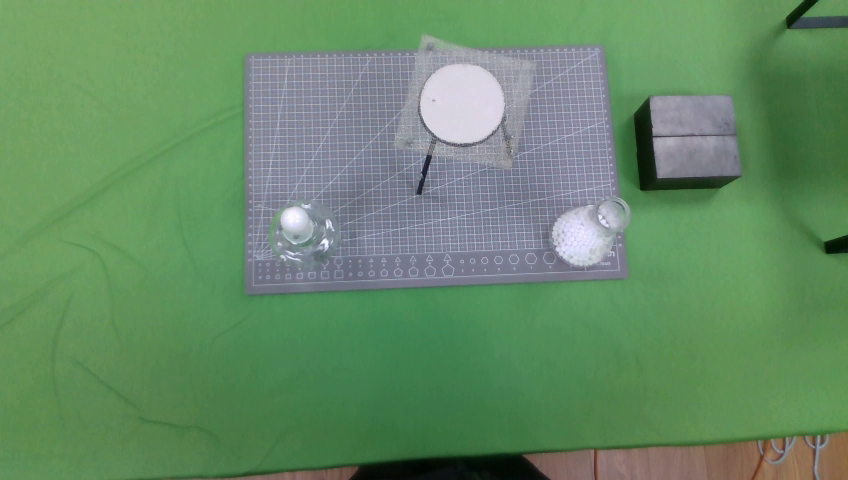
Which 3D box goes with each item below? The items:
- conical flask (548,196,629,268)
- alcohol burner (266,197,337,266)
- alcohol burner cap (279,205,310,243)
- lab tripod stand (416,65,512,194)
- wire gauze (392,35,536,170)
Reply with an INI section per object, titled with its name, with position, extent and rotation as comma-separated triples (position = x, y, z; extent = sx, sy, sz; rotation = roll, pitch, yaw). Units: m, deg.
[conical flask]
position = 0.186, -0.014, 0.666
extent = 0.075, 0.122, 0.075
rotation = 1, 79, -2
[alcohol burner]
position = -0.135, -0.012, 0.656
extent = 0.078, 0.119, 0.077
rotation = 0, 81, -2
[alcohol burner cap]
position = -0.135, -0.019, 0.621
extent = 0.034, 0.048, 0.033
rotation = 2, 75, -6
[lab tripod stand]
position = 0.034, -0.127, 0.675
extent = 0.148, 0.132, 0.147
rotation = 0, 79, 0
[wire gauze]
position = 0.042, -0.139, 0.609
extent = 0.121, 0.011, 0.124
rotation = 15, 79, 1
